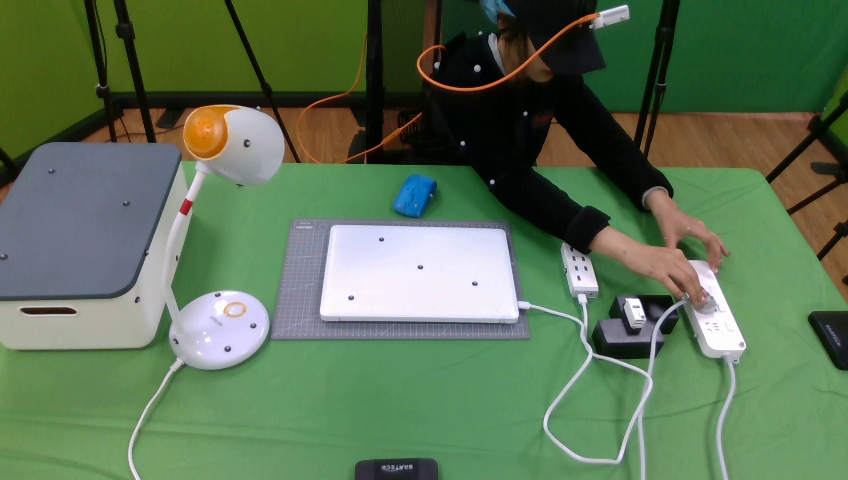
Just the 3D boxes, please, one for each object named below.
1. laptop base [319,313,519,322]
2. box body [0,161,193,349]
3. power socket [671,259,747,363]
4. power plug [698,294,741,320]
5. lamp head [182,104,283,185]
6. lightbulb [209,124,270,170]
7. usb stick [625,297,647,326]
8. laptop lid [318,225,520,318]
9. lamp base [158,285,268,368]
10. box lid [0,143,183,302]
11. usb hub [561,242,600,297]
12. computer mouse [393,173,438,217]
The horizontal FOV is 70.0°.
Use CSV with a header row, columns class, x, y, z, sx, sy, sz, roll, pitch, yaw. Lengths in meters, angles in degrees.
class,x,y,z,sx,sy,sz,roll,pitch,yaw
laptop base,-0.009,0.063,1.137,0.354,0.023,0.234,1,42,-3
box body,-0.570,0.006,1.054,0.254,0.161,0.361,-1,46,-4
power socket,0.517,0.120,1.108,0.072,0.033,0.225,1,46,-1
power plug,0.516,0.127,1.070,0.035,0.053,0.072,-23,54,-3
lamp head,-0.271,-0.133,0.825,0.112,0.112,0.123,20,8,15
lightbulb,-0.260,-0.135,0.847,0.059,0.108,0.059,-4,79,20
usb stick,0.360,0.117,1.034,0.021,0.027,0.059,-1,43,-3
laptop lid,-0.009,0.053,1.130,0.357,0.013,0.240,2,44,-2
lamp base,-0.347,0.102,0.963,0.160,0.181,0.178,23,51,18
box lid,-0.567,-0.045,0.999,0.263,0.015,0.369,-1,46,-4
usb hub,0.300,0.056,1.162,0.049,0.025,0.124,4,44,-4
computer mouse,-0.018,-0.098,1.282,0.062,0.041,0.117,20,52,13
